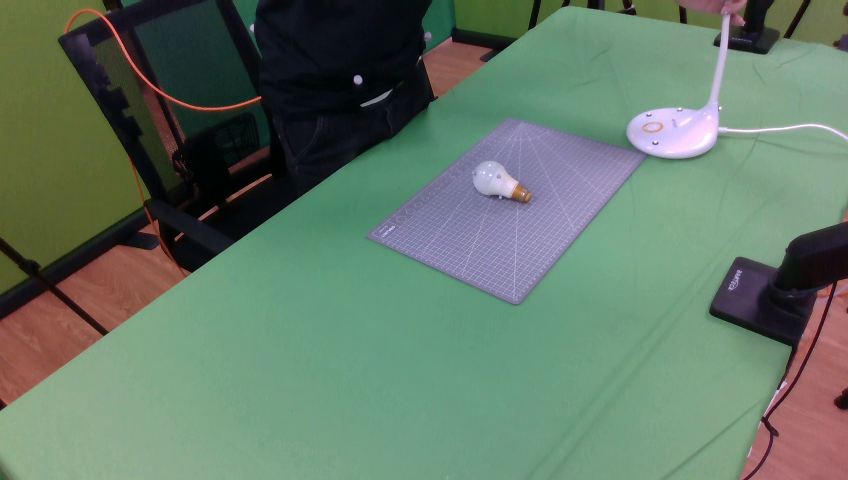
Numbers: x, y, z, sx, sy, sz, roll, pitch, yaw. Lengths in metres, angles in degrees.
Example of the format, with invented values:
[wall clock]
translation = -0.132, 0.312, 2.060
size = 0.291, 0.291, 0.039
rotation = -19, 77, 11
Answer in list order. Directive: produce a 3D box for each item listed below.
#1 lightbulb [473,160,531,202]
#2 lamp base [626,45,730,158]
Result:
[lightbulb]
translation = 0.135, -0.097, 1.038
size = 0.107, 0.059, 0.059
rotation = 29, 50, 15
[lamp base]
translation = 0.468, -0.261, 1.085
size = 0.179, 0.181, 0.159
rotation = -5, 41, -1
